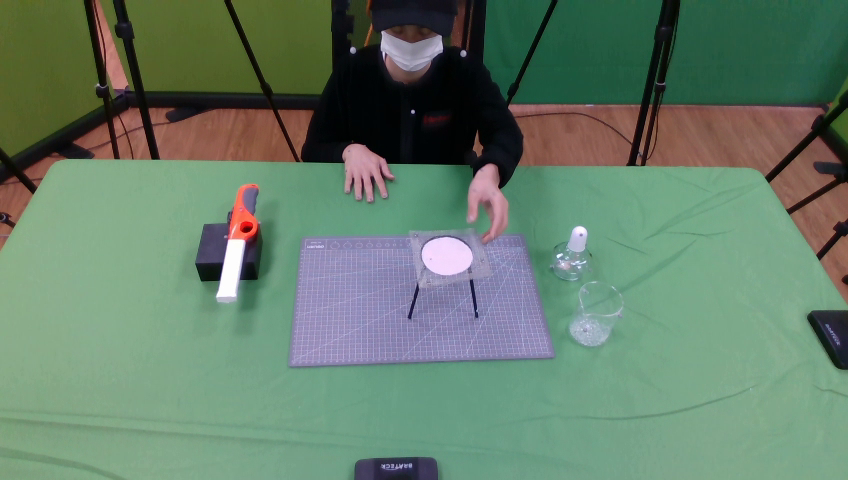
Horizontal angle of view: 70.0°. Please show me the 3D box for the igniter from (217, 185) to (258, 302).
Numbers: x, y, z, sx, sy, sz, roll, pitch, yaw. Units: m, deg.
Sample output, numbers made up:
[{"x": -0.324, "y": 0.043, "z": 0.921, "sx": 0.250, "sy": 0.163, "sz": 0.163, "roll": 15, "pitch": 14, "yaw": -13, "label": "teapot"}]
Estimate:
[{"x": -0.339, "y": -0.004, "z": 1.106, "sx": 0.057, "sy": 0.025, "sz": 0.274, "roll": 1, "pitch": 49, "yaw": -6, "label": "igniter"}]

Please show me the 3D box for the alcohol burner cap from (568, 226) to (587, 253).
[{"x": 0.284, "y": -0.003, "z": 1.112, "sx": 0.034, "sy": 0.048, "sz": 0.033, "roll": 1, "pitch": 41, "yaw": -1, "label": "alcohol burner cap"}]

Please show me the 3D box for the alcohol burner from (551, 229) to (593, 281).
[{"x": 0.281, "y": 0.021, "z": 1.137, "sx": 0.078, "sy": 0.120, "sz": 0.077, "roll": 1, "pitch": 48, "yaw": -1, "label": "alcohol burner"}]

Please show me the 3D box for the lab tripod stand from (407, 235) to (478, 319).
[{"x": 0.032, "y": 0.065, "z": 1.057, "sx": 0.148, "sy": 0.132, "sz": 0.147, "roll": 1, "pitch": 45, "yaw": -1, "label": "lab tripod stand"}]

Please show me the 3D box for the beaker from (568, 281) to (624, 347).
[{"x": 0.290, "y": 0.132, "z": 1.040, "sx": 0.084, "sy": 0.101, "sz": 0.073, "roll": -34, "pitch": 57, "yaw": -31, "label": "beaker"}]

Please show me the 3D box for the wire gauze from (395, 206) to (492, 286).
[{"x": 0.031, "y": 0.010, "z": 0.993, "sx": 0.125, "sy": 0.011, "sz": 0.120, "roll": -24, "pitch": 57, "yaw": -17, "label": "wire gauze"}]
